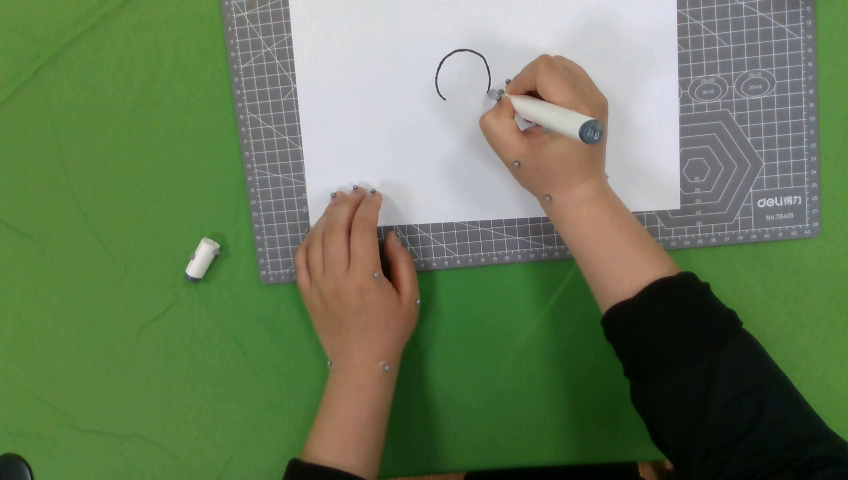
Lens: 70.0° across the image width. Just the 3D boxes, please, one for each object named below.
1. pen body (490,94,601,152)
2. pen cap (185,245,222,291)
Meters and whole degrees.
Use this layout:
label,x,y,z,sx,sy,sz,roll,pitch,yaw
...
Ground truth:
label,x,y,z,sx,sy,sz,roll,pitch,yaw
pen body,0.077,-0.085,0.419,0.017,0.142,0.017,-8,116,-18
pen cap,-0.188,0.025,0.513,0.017,0.017,0.038,33,98,2
